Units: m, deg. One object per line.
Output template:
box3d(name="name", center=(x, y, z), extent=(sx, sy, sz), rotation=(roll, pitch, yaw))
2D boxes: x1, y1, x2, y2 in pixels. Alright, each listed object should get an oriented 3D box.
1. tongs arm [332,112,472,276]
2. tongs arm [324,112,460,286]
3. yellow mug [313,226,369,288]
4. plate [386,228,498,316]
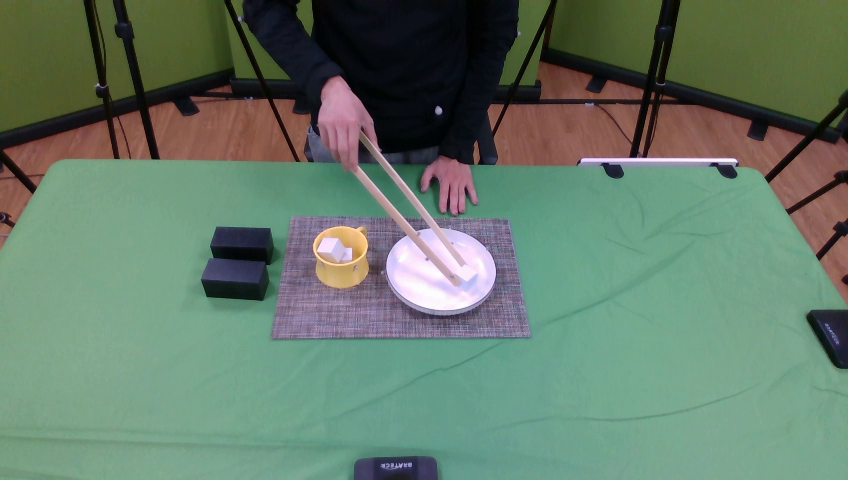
box3d(name="tongs arm", center=(-0.040, -0.087, 1.110), extent=(0.028, 0.028, 0.387), rotation=(-37, 85, -26))
box3d(name="tongs arm", center=(-0.056, -0.075, 1.098), extent=(0.384, 0.026, 0.050), rotation=(48, 60, 2))
box3d(name="yellow mug", center=(-0.146, 0.021, 1.132), extent=(0.099, 0.064, 0.130), rotation=(24, 49, 19))
box3d(name="plate", center=(0.033, 0.062, 1.126), extent=(0.208, 0.039, 0.206), rotation=(2, 46, -2))
